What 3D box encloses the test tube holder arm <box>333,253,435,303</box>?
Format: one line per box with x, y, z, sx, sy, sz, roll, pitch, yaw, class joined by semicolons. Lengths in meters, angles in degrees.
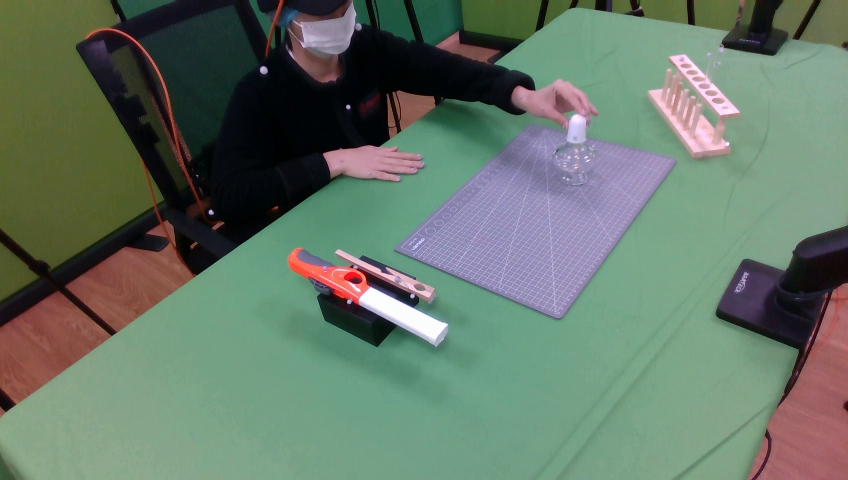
-0.060;0.052;0.852;0.177;0.015;0.013;19;51;28;test tube holder arm

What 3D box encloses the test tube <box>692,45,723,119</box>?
0.517;-0.285;1.106;0.017;0.151;0.017;-2;46;3;test tube

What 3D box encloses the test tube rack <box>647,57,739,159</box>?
0.504;-0.257;1.153;0.067;0.085;0.241;-7;40;1;test tube rack

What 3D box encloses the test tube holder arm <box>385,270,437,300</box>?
-0.020;0.061;0.834;0.087;0.015;0.010;20;51;29;test tube holder arm

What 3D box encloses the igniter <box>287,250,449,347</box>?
-0.087;0.073;0.825;0.274;0.025;0.057;23;48;27;igniter

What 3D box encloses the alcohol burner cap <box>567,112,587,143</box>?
0.257;-0.189;1.011;0.034;0.048;0.033;-4;37;3;alcohol burner cap

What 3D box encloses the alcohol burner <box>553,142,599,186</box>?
0.261;-0.153;1.042;0.078;0.119;0.077;-6;40;6;alcohol burner
